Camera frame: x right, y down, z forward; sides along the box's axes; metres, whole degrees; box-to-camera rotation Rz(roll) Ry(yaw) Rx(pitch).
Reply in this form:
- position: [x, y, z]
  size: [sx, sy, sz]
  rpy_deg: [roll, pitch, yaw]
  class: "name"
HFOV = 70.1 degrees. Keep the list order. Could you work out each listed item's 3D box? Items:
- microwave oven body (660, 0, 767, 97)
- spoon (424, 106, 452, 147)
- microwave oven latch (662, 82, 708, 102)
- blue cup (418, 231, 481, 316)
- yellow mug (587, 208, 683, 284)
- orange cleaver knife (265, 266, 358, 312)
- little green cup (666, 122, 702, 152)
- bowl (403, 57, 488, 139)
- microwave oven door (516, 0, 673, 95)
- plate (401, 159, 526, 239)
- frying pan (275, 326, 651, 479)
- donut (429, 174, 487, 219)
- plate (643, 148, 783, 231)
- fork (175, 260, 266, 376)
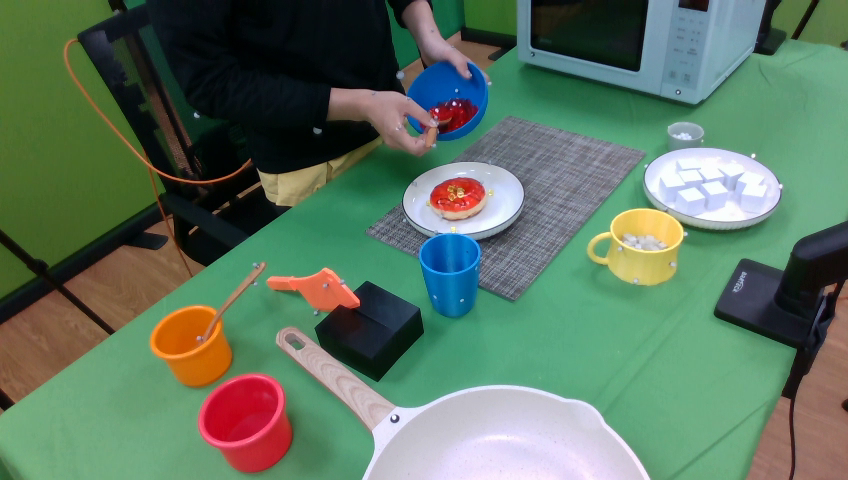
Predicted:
- position: [0.473, -0.516, 1.313]
  size: [0.438, 0.261, 0.327]
  rpy_deg: [26, 51, 34]
  class: "microwave oven body"
- position: [0.017, -0.187, 0.980]
  size: [0.041, 0.021, 0.193]
  rpy_deg: [10, 25, 4]
  class: "spoon"
- position: [0.518, -0.298, 1.203]
  size: [0.078, 0.029, 0.030]
  rpy_deg: [29, 53, 35]
  class: "microwave oven latch"
- position: [0.040, 0.053, 0.843]
  size: [0.092, 0.100, 0.092]
  rpy_deg: [-4, 43, 4]
  class: "blue cup"
- position: [0.305, 0.009, 0.884]
  size: [0.131, 0.064, 0.099]
  rpy_deg: [-4, 41, 5]
  class: "yellow mug"
- position: [-0.164, 0.073, 0.864]
  size: [0.210, 0.077, 0.012]
  rpy_deg: [-6, 31, 50]
  class: "orange cleaver knife"
- position: [0.471, -0.184, 1.102]
  size: [0.061, 0.039, 0.061]
  rpy_deg: [-5, 41, 5]
  class: "little green cup"
- position: [0.047, -0.233, 1.055]
  size: [0.151, 0.077, 0.151]
  rpy_deg: [-7, 68, 18]
  class: "bowl"
- position: [0.344, -0.458, 1.256]
  size: [0.353, 0.245, 0.039]
  rpy_deg: [26, 51, 33]
  class: "microwave oven door"
- position: [0.067, -0.065, 1.019]
  size: [0.209, 0.038, 0.208]
  rpy_deg: [-4, 40, 4]
  class: "plate"
- position: [0.004, 0.229, 0.641]
  size: [0.484, 0.103, 0.308]
  rpy_deg: [34, 54, 28]
  class: "frying pan"
- position: [0.058, -0.075, 1.015]
  size: [0.099, 0.048, 0.098]
  rpy_deg: [-6, 37, 5]
  class: "donut"
- position: [0.464, -0.079, 0.985]
  size: [0.207, 0.039, 0.206]
  rpy_deg: [-4, 40, 4]
  class: "plate"
- position: [-0.268, 0.103, 0.792]
  size: [0.207, 0.019, 0.028]
  rpy_deg: [-51, 41, 16]
  class: "fork"
